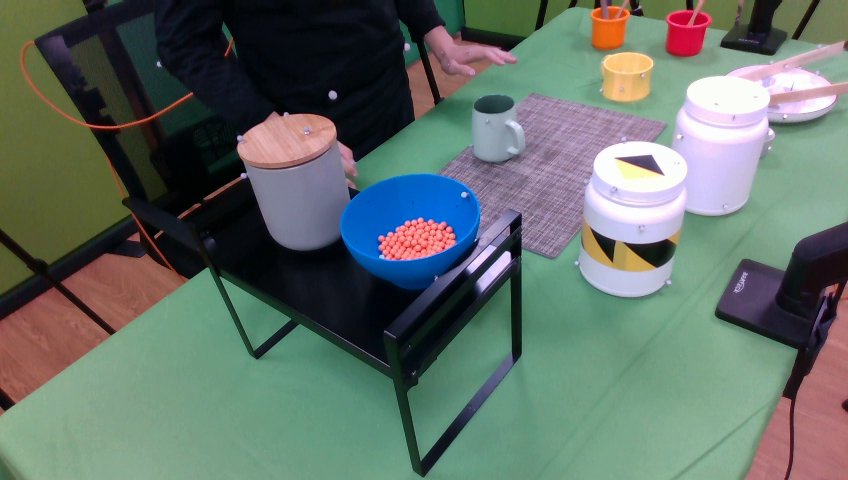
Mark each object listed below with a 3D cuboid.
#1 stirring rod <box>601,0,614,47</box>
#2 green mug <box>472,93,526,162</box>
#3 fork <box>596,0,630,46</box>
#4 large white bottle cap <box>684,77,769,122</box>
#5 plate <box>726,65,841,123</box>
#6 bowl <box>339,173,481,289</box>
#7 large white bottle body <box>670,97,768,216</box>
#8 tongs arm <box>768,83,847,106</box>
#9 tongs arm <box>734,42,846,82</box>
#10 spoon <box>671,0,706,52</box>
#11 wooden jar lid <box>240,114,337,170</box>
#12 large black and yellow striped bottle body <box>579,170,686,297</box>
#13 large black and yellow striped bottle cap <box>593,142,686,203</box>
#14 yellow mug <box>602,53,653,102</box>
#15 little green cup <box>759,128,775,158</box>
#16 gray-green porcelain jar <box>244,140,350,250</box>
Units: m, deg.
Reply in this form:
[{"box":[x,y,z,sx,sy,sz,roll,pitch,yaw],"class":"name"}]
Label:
[{"box":[0.439,-0.552,1.463,0.014,0.006,0.175,-7,83,3],"class":"stirring rod"},{"box":[0.144,-0.202,1.122,0.093,0.105,0.124,-29,45,-23],"class":"green mug"},{"box":[0.481,-0.556,1.452,0.028,0.019,0.207,40,103,38],"class":"fork"},{"box":[0.448,-0.210,0.898,0.115,0.018,0.114,-4,40,4],"class":"large white bottle cap"},{"box":[0.694,-0.282,1.189,0.207,0.039,0.206,-4,40,4],"class":"plate"},{"box":[-0.011,0.001,0.660,0.151,0.077,0.150,-5,41,5],"class":"bowl"},{"box":[0.458,-0.146,0.952,0.130,0.185,0.130,-4,40,4],"class":"large white bottle body"},{"box":[0.734,-0.280,1.133,0.388,0.028,0.028,-9,47,-5],"class":"tongs arm"},{"box":[0.708,-0.331,1.193,0.386,0.026,0.050,-18,45,-15],"class":"tongs arm"},{"box":[0.629,-0.520,1.394,0.041,0.022,0.193,30,97,34],"class":"spoon"},{"box":[-0.149,-0.106,0.673,0.108,0.021,0.108,-6,39,5],"class":"wooden jar lid"},{"box":[0.287,-0.027,0.842,0.131,0.185,0.130,-4,41,4],"class":"large black and yellow striped bottle body"},{"box":[0.280,-0.090,0.786,0.115,0.019,0.114,-5,41,5],"class":"large black and yellow striped bottle cap"},{"box":[0.423,-0.354,1.292,0.100,0.064,0.129,-23,42,-16],"class":"yellow mug"},{"box":[0.588,-0.175,1.080,0.061,0.039,0.061,-5,40,5],"class":"little green cup"},{"box":[-0.144,-0.060,0.714,0.106,0.127,0.105,-4,41,4],"class":"gray-green porcelain jar"}]
